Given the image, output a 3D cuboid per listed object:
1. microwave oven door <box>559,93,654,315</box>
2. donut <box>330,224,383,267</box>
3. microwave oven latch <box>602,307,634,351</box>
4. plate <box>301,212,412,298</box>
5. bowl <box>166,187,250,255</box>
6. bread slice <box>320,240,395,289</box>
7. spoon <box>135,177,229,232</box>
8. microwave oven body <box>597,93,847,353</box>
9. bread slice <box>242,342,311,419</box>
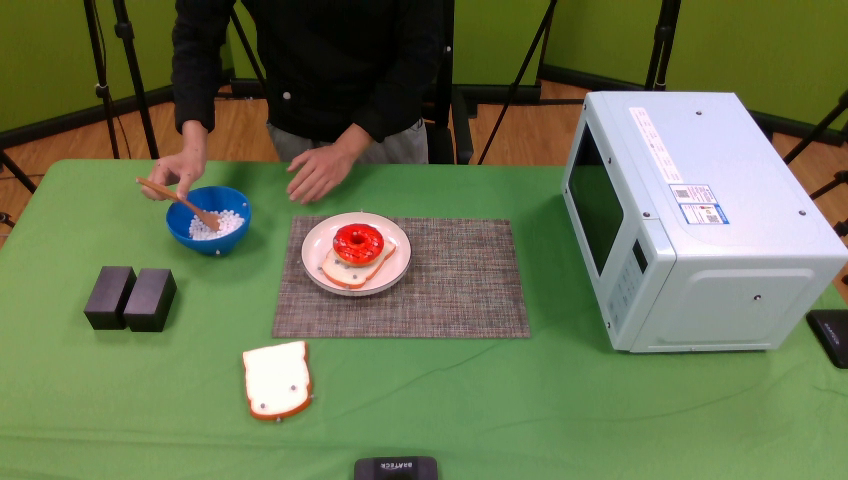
[{"bbox_3d":[0.327,-0.074,1.123,0.039,0.245,0.353,-1,46,-5],"label":"microwave oven door"},{"bbox_3d":[-0.125,0.010,1.127,0.099,0.048,0.098,3,45,-3],"label":"donut"},{"bbox_3d":[0.332,0.153,1.044,0.030,0.029,0.078,0,45,-4],"label":"microwave oven latch"},{"bbox_3d":[-0.126,0.031,1.145,0.208,0.039,0.206,2,46,-2],"label":"plate"},{"bbox_3d":[-0.403,-0.024,1.155,0.151,0.077,0.150,2,46,-2],"label":"bowl"},{"bbox_3d":[-0.129,0.037,1.141,0.107,0.018,0.134,19,47,14],"label":"bread slice"},{"bbox_3d":[-0.436,-0.066,1.103,0.021,0.195,0.041,-31,48,17],"label":"spoon"},{"bbox_3d":[0.475,-0.041,1.109,0.326,0.261,0.438,-1,45,-4],"label":"microwave oven body"},{"bbox_3d":[-0.234,0.223,0.970,0.105,0.019,0.130,-10,46,-13],"label":"bread slice"}]
